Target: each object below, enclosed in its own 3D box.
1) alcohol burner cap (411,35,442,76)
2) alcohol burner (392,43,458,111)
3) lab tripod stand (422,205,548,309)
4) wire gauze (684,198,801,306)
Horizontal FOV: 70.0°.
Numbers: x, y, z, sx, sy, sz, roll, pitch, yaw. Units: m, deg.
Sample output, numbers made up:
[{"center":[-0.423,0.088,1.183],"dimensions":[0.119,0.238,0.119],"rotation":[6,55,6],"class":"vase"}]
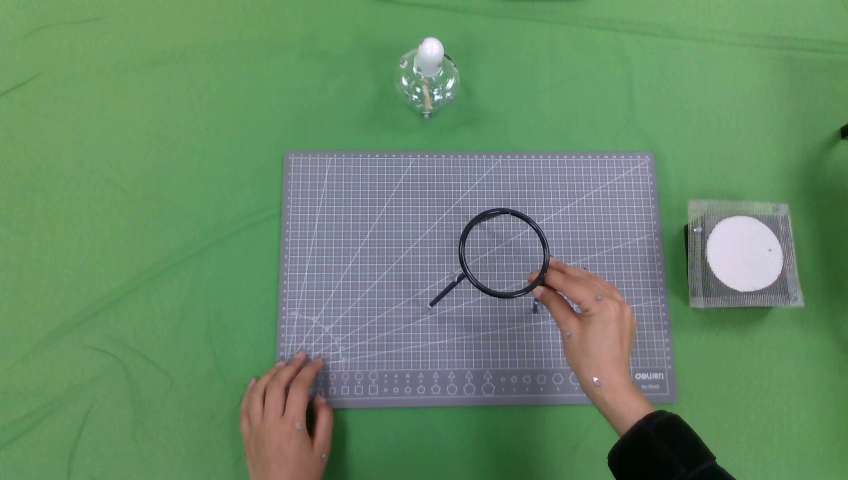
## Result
[{"center":[0.004,-0.204,0.662],"dimensions":[0.034,0.048,0.034],"rotation":[1,83,-6],"class":"alcohol burner cap"},{"center":[0.003,-0.197,0.696],"dimensions":[0.078,0.119,0.077],"rotation":[1,78,-5],"class":"alcohol burner"},{"center":[0.072,0.026,0.637],"dimensions":[0.149,0.132,0.147],"rotation":[2,74,-8],"class":"lab tripod stand"},{"center":[0.350,0.013,0.673],"dimensions":[0.121,0.011,0.124],"rotation":[2,77,0],"class":"wire gauze"}]
